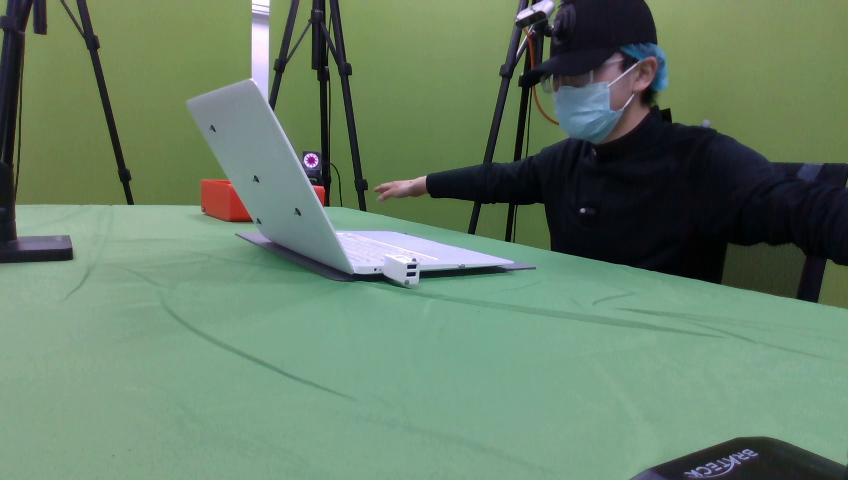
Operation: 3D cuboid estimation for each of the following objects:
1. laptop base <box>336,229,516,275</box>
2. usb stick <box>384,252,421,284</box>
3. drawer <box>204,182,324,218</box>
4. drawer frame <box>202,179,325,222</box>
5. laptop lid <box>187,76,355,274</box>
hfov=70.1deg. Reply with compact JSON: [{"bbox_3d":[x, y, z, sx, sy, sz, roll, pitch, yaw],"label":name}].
[{"bbox_3d":[-0.066,0.014,0.877,0.237,0.023,0.352,2,7,-32],"label":"laptop base"},{"bbox_3d":[-0.028,0.029,0.675,0.021,0.027,0.059,-3,10,-33],"label":"usb stick"},{"bbox_3d":[-0.360,-0.091,1.358,0.213,0.073,0.193,-4,10,-36],"label":"drawer"},{"bbox_3d":[-0.361,-0.092,1.356,0.215,0.082,0.200,-4,10,-37],"label":"drawer frame"},{"bbox_3d":[-0.211,-0.082,0.772,0.013,0.242,0.355,-34,25,-23],"label":"laptop lid"}]
